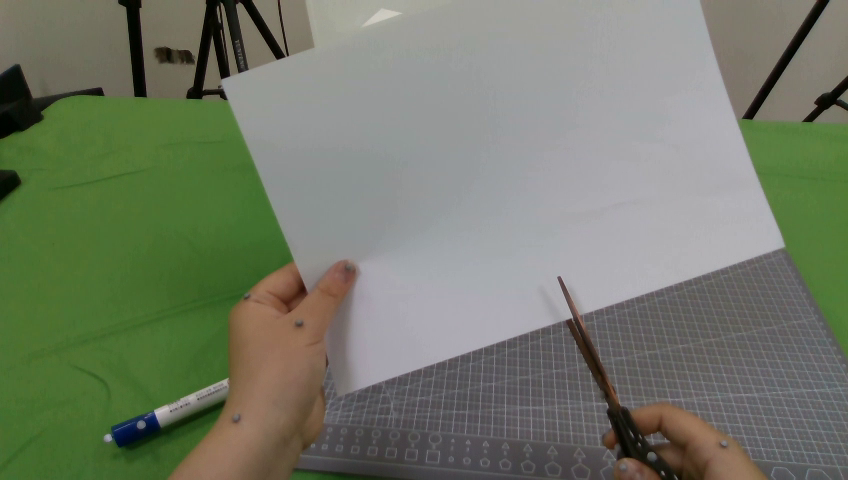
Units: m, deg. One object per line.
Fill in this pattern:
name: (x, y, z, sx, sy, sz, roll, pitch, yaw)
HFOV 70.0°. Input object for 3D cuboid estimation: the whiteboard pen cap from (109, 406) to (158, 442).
whiteboard pen cap: (-0.218, 0.138, 0.458, 0.033, 0.018, 0.018, -22, 43, -26)

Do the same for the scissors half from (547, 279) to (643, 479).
scissors half: (0.114, 0.103, 0.375, 0.013, 0.175, 0.040, -26, 3, -4)

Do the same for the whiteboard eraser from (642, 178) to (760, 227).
whiteboard eraser: (0.304, -0.041, 0.670, 0.112, 0.042, 0.055, 2, 40, 2)

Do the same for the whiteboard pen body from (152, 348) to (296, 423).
whiteboard pen body: (-0.169, 0.119, 0.483, 0.141, 0.017, 0.017, -21, 42, -27)

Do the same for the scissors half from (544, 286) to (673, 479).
scissors half: (0.111, 0.097, 0.352, 0.013, 0.040, 0.173, -27, 57, 1)

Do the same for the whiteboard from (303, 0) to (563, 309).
whiteboard: (0.000, -0.121, 0.612, 0.218, 0.307, 0.142, -15, 20, -16)
